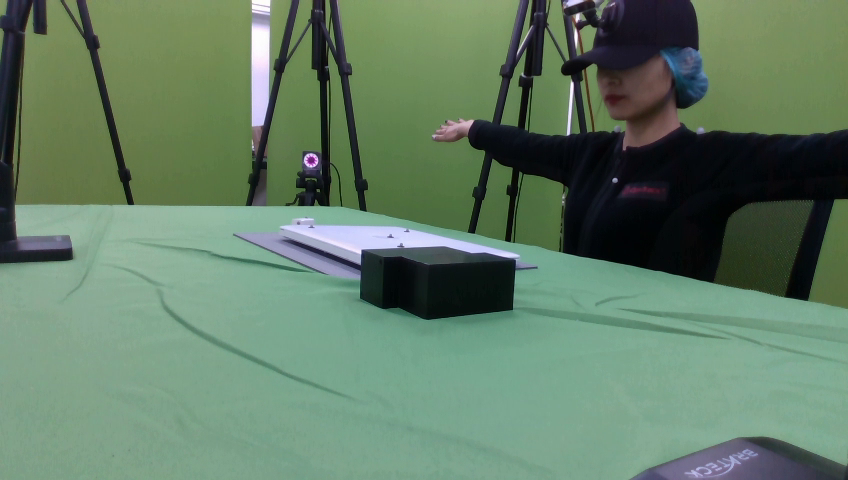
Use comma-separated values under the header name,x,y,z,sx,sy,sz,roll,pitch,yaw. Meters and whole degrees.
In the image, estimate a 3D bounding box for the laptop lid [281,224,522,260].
name,x,y,z,sx,sy,sz,roll,pitch,yaw
laptop lid,-0.050,-0.002,0.911,0.243,0.013,0.355,1,7,-31

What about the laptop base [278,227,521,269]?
name,x,y,z,sx,sy,sz,roll,pitch,yaw
laptop base,-0.053,0.010,0.911,0.237,0.023,0.352,2,6,-32

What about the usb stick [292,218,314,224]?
name,x,y,z,sx,sy,sz,roll,pitch,yaw
usb stick,-0.222,-0.026,1.091,0.021,0.027,0.059,5,10,21
